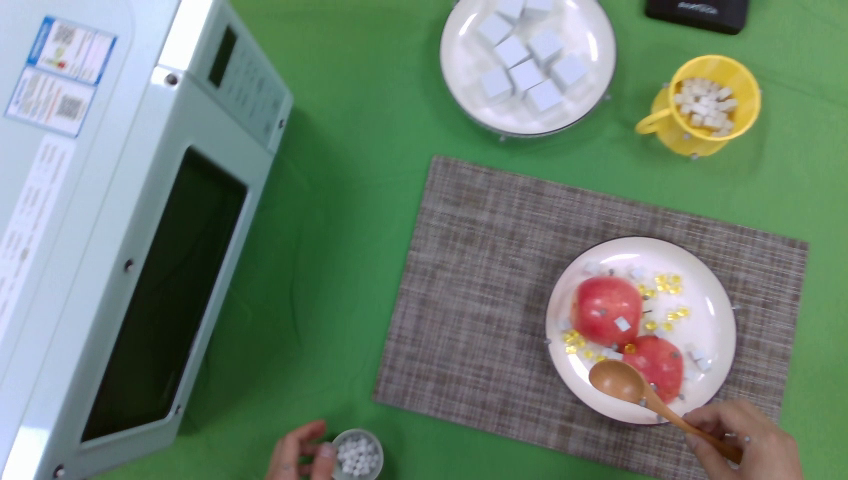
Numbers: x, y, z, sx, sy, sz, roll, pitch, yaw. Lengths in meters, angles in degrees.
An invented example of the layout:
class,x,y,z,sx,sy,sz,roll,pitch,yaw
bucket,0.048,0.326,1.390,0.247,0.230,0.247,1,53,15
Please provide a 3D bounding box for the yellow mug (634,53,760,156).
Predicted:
class,x,y,z,sx,sy,sz,roll,pitch,yaw
yellow mug,0.307,-0.149,0.698,0.131,0.064,0.099,-17,82,0

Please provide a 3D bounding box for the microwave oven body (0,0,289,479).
class,x,y,z,sx,sy,sz,roll,pitch,yaw
microwave oven body,-0.378,-0.042,0.609,0.326,0.261,0.440,17,84,4

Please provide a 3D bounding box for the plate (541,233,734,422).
class,x,y,z,sx,sy,sz,roll,pitch,yaw
plate,0.234,0.096,0.679,0.209,0.038,0.208,0,83,2

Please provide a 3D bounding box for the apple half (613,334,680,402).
class,x,y,z,sx,sy,sz,roll,pitch,yaw
apple half,0.247,0.141,0.667,0.081,0.033,0.081,0,79,2

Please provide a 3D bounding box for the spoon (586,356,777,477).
class,x,y,z,sx,sy,sz,roll,pitch,yaw
spoon,0.240,0.168,0.567,0.193,0.021,0.042,33,117,10

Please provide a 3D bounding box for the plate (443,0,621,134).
class,x,y,z,sx,sy,sz,roll,pitch,yaw
plate,0.127,-0.224,0.729,0.207,0.039,0.207,0,82,2

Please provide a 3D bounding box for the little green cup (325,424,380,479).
class,x,y,z,sx,sy,sz,roll,pitch,yaw
little green cup,-0.078,0.236,0.676,0.061,0.039,0.061,0,85,1

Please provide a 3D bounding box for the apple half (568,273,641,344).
class,x,y,z,sx,sy,sz,roll,pitch,yaw
apple half,0.201,0.074,0.668,0.074,0.053,0.080,12,84,6

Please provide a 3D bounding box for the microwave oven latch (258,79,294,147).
class,x,y,z,sx,sy,sz,roll,pitch,yaw
microwave oven latch,-0.178,-0.152,0.713,0.030,0.029,0.079,19,84,4

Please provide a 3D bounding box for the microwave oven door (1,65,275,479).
class,x,y,z,sx,sy,sz,roll,pitch,yaw
microwave oven door,-0.252,0.041,0.588,0.039,0.244,0.355,17,83,5
